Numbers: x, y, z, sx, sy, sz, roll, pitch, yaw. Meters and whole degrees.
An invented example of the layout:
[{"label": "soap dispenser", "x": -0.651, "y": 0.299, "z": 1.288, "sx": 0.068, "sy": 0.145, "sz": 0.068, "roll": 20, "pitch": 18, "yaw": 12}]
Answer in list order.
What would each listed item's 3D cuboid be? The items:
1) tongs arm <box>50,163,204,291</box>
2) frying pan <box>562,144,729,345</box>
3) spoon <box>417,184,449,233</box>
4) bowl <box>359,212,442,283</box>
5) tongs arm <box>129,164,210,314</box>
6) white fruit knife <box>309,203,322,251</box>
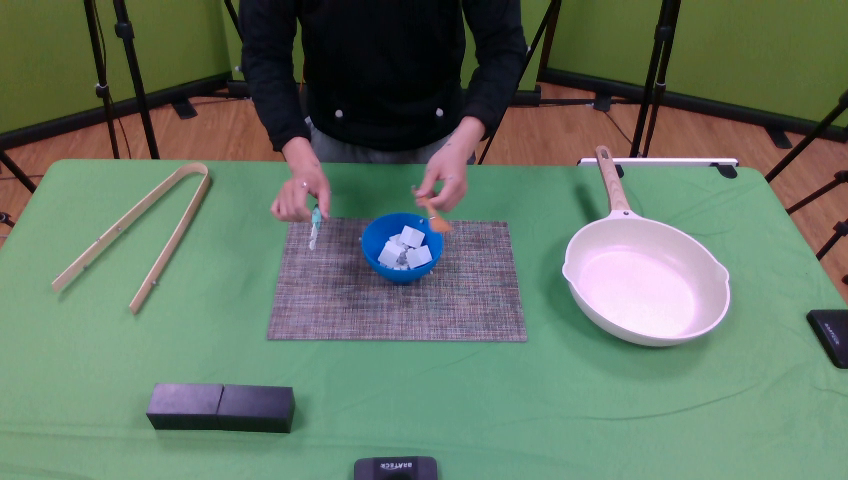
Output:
[{"label": "tongs arm", "x": -0.561, "y": -0.036, "z": 1.178, "sx": 0.050, "sy": 0.026, "sz": 0.383, "roll": 17, "pitch": 46, "yaw": 10}, {"label": "frying pan", "x": 0.396, "y": -0.008, "z": 1.179, "sx": 0.307, "sy": 0.103, "sz": 0.484, "roll": 1, "pitch": 55, "yaw": -5}, {"label": "spoon", "x": 0.008, "y": -0.056, "z": 0.985, "sx": 0.041, "sy": 0.022, "sz": 0.192, "roll": -9, "pitch": 31, "yaw": -4}, {"label": "bowl", "x": -0.044, "y": 0.026, "z": 1.125, "sx": 0.151, "sy": 0.077, "sz": 0.150, "roll": 2, "pitch": 46, "yaw": -2}, {"label": "tongs arm", "x": -0.483, "y": -0.016, "z": 1.170, "sx": 0.028, "sy": 0.028, "sz": 0.385, "roll": 5, "pitch": 46, "yaw": 4}, {"label": "white fruit knife", "x": -0.178, "y": -0.024, "z": 0.986, "sx": 0.016, "sy": 0.027, "sz": 0.206, "roll": -10, "pitch": 21, "yaw": -3}]
